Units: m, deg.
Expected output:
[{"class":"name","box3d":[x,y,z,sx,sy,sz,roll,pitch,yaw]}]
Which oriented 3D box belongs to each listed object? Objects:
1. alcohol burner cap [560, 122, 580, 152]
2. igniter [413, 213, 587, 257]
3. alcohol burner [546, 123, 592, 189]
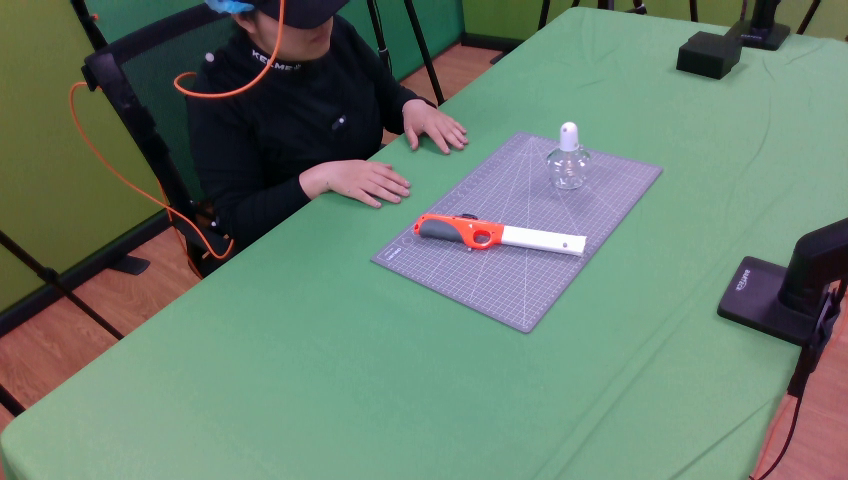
[{"class":"alcohol burner cap","box3d":[0.244,-0.174,1.010,0.034,0.048,0.033,-8,40,7]},{"class":"igniter","box3d":[0.116,-0.009,0.959,0.275,0.025,0.057,8,65,17]},{"class":"alcohol burner","box3d":[0.248,-0.147,1.034,0.078,0.120,0.077,-7,41,6]}]
